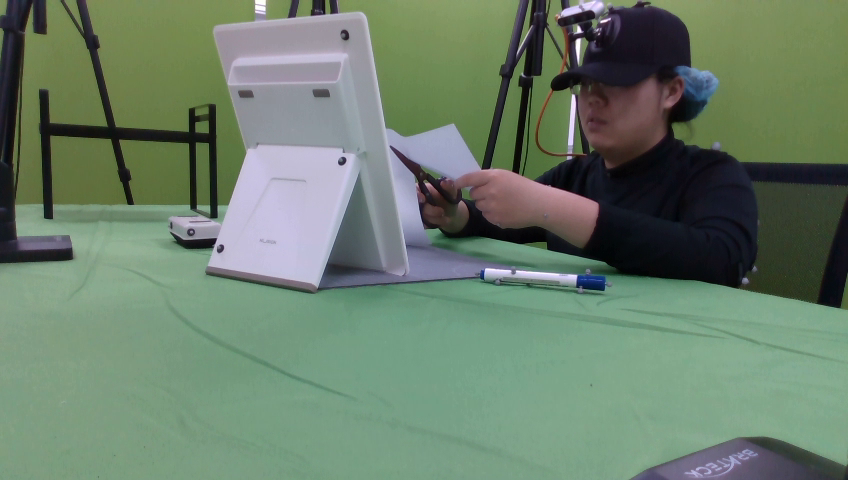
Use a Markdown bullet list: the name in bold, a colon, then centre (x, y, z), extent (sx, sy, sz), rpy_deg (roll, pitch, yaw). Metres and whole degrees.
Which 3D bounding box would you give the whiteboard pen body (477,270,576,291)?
- **whiteboard pen body**: centre (0.131, 0.048, 0.706), extent (0.140, 0.017, 0.017), rpy_deg (4, 8, 17)

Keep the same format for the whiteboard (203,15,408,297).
- **whiteboard**: centre (-0.166, -0.072, 0.668), extent (0.216, 0.305, 0.144), rpy_deg (8, 30, 30)

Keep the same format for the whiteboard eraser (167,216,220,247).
- **whiteboard eraser**: centre (-0.350, -0.013, 0.920), extent (0.056, 0.042, 0.112), rpy_deg (0, 7, -35)

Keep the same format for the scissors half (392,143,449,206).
- **scissors half**: centre (-0.005, -0.108, 0.990), extent (0.012, 0.040, 0.176), rpy_deg (-2, -25, 33)

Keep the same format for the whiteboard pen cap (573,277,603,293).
- **whiteboard pen cap**: centre (0.186, 0.051, 0.687), extent (0.033, 0.018, 0.018), rpy_deg (4, 8, 17)

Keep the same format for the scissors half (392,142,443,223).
- **scissors half**: centre (-0.010, -0.091, 0.980), extent (0.013, 0.176, 0.040), rpy_deg (-7, 42, 31)
